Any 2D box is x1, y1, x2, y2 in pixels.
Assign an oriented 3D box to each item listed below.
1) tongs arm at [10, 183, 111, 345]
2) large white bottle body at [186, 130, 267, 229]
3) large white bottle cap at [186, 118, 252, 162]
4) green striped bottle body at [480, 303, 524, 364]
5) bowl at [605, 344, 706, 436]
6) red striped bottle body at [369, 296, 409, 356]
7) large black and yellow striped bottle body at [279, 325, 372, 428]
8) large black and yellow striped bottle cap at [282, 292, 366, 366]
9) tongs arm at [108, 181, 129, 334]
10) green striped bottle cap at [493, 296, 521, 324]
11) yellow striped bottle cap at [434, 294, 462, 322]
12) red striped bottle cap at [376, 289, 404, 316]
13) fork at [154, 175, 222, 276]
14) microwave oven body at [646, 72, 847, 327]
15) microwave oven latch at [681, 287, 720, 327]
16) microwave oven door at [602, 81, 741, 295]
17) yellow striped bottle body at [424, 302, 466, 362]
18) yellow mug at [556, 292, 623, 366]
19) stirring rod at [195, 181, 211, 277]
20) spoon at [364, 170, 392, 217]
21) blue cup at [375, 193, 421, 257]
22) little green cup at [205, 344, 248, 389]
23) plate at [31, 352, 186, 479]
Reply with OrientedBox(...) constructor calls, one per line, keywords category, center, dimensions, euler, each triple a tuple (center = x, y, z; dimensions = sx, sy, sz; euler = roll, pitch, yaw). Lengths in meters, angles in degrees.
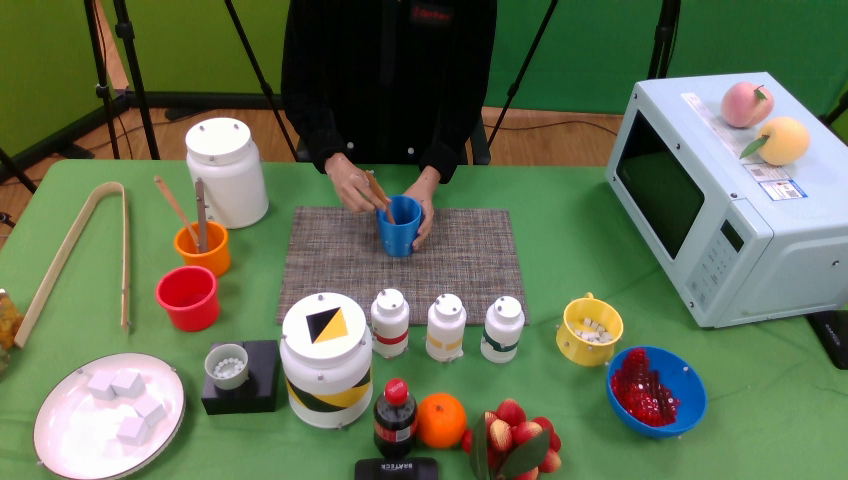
OrientedBox(category="tongs arm", center=(-0.658, 0.027, 1.109), dimensions=(0.028, 0.028, 0.385), euler=(-2, 45, 2))
OrientedBox(category="large white bottle body", center=(-0.383, -0.127, 1.175), dimensions=(0.131, 0.185, 0.130), euler=(2, 47, -2))
OrientedBox(category="large white bottle cap", center=(-0.377, -0.185, 1.115), dimensions=(0.115, 0.018, 0.114), euler=(2, 46, -2))
OrientedBox(category="green striped bottle body", center=(0.129, 0.147, 1.000), dimensions=(0.063, 0.120, 0.063), euler=(2, 46, -2))
OrientedBox(category="bowl", center=(0.351, 0.247, 0.950), dimensions=(0.151, 0.077, 0.150), euler=(2, 46, -2))
OrientedBox(category="red striped bottle body", center=(-0.059, 0.134, 0.997), dimensions=(0.063, 0.120, 0.062), euler=(5, 48, -5))
OrientedBox(category="large black and yellow striped bottle body", center=(-0.143, 0.181, 0.900), dimensions=(0.131, 0.185, 0.130), euler=(2, 46, -2))
OrientedBox(category="large black and yellow striped bottle cap", center=(-0.138, 0.121, 0.841), dimensions=(0.115, 0.019, 0.114), euler=(3, 47, -3))
OrientedBox(category="tongs arm", center=(-0.571, 0.019, 1.123), dimensions=(0.051, 0.026, 0.382), euler=(-10, 47, -12))
OrientedBox(category="green striped bottle cap", center=(0.133, 0.111, 0.962), dimensions=(0.044, 0.020, 0.044), euler=(2, 47, -2))
OrientedBox(category="yellow striped bottle cap", center=(0.038, 0.107, 0.958), dimensions=(0.044, 0.019, 0.044), euler=(2, 45, -2))
OrientedBox(category="red striped bottle cap", center=(-0.055, 0.098, 0.958), dimensions=(0.044, 0.018, 0.044), euler=(0, 48, 0))
OrientedBox(category="fork", center=(-0.431, -0.026, 1.101), dimensions=(0.028, 0.018, 0.207), euler=(-33, 100, -25))
OrientedBox(category="microwave oven body", center=(0.607, -0.089, 1.164), dimensions=(0.326, 0.261, 0.438), euler=(-7, 46, -10))
OrientedBox(category="microwave oven latch", center=(0.494, 0.119, 1.087), dimensions=(0.030, 0.029, 0.078), euler=(-5, 46, -9))
OrientedBox(category="microwave oven door", center=(0.456, -0.107, 1.162), dimensions=(0.039, 0.245, 0.353), euler=(-7, 47, -11))
OrientedBox(category="yellow striped bottle body", center=(0.035, 0.143, 0.995), dimensions=(0.063, 0.121, 0.062), euler=(3, 46, -3))
OrientedBox(category="yellow mug", center=(0.285, 0.145, 1.051), dimensions=(0.100, 0.064, 0.130), euler=(7, 46, 4))
OrientedBox(category="stirring rod", center=(-0.403, -0.020, 1.104), dimensions=(0.014, 0.006, 0.176), euler=(-6, 89, -9))
OrientedBox(category="spoon", center=(-0.071, -0.055, 1.103), dimensions=(0.041, 0.195, 0.021), euler=(13, 50, 35))
OrientedBox(category="blue cup", center=(-0.050, -0.022, 1.156), dimensions=(0.093, 0.101, 0.092), euler=(1, 47, -1))
OrientedBox(category="little green cup", center=(-0.294, 0.191, 0.909), dimensions=(0.061, 0.039, 0.061), euler=(1, 47, -1))
OrientedBox(category="plate", center=(-0.459, 0.262, 0.898), dimensions=(0.209, 0.038, 0.208), euler=(2, 46, -2))
